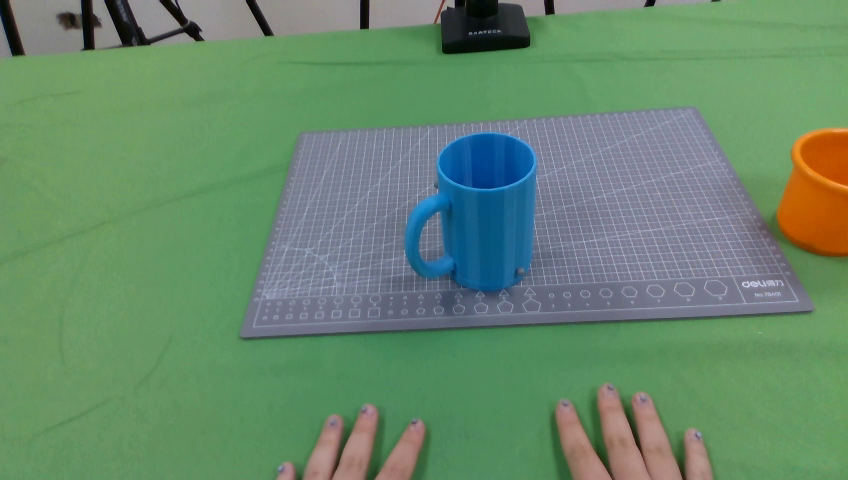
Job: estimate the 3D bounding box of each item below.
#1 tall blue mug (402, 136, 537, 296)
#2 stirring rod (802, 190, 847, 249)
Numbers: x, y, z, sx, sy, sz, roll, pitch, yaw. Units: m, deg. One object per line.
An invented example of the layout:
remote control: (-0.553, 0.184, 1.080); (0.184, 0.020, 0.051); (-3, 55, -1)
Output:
tall blue mug: (0.041, -0.009, 0.482); (0.077, 0.109, 0.107); (20, 49, 24)
stirring rod: (0.372, -0.063, 0.485); (0.176, 0.006, 0.014); (-53, 39, 14)
